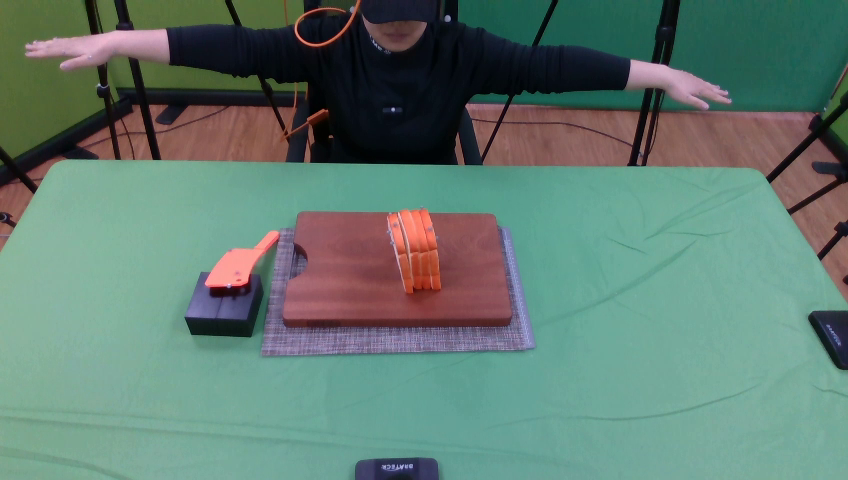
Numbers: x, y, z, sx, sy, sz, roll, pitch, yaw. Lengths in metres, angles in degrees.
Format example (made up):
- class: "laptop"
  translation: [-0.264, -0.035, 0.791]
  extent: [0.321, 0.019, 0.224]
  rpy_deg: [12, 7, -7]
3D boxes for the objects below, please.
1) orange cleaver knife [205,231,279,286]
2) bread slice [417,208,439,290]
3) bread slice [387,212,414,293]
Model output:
- class: "orange cleaver knife"
  translation: [-0.328, 0.031, 1.109]
  extent: [0.077, 0.012, 0.210]
  rpy_deg: [5, 27, 7]
- class: "bread slice"
  translation: [0.007, 0.012, 1.073]
  extent: [0.018, 0.135, 0.106]
  rpy_deg: [-11, 51, -7]
- class: "bread slice"
  translation: [-0.043, 0.016, 1.067]
  extent: [0.019, 0.132, 0.104]
  rpy_deg: [-15, 46, -4]
